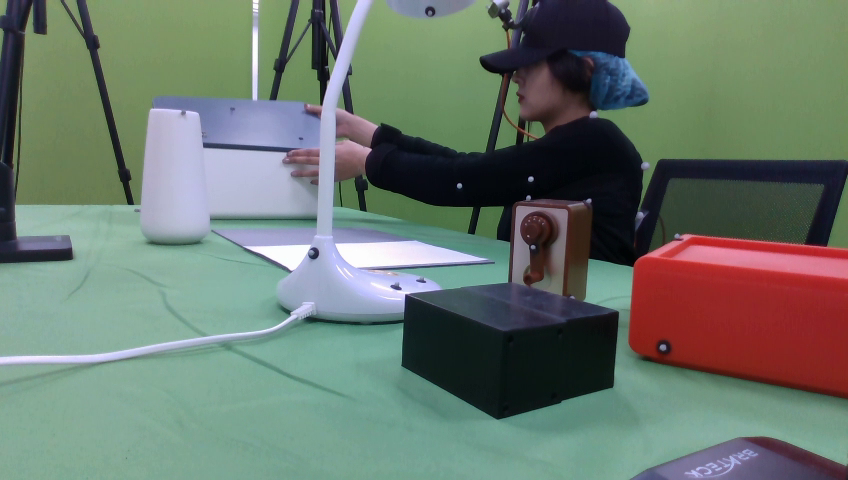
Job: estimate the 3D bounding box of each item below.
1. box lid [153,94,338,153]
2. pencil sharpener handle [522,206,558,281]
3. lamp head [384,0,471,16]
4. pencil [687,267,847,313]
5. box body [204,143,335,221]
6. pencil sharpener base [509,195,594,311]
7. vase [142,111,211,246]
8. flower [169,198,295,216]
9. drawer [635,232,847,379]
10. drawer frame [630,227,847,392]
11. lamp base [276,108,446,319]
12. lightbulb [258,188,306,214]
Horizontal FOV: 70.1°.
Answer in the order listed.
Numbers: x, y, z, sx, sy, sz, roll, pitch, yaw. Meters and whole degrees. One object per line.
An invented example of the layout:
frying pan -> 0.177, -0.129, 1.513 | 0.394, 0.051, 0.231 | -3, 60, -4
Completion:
box lid -> -0.397, -0.261, 1.359 | 0.373, 0.015, 0.262 | -3, 36, -28
pencil sharpener handle -> 0.102, 0.003, 0.555 | 0.036, 0.067, 0.031 | 0, 5, 31
lamp head -> -0.001, -0.301, 0.599 | 0.112, 0.112, 0.123 | 4, -30, 14
pencil -> 0.308, 0.044, 0.515 | 0.194, 0.012, 0.012 | 13, 5, -12
box body -> -0.410, -0.135, 1.386 | 0.366, 0.160, 0.253 | -2, 9, -29
pencil sharpener base -> 0.126, 0.011, 0.601 | 0.061, 0.107, 0.077 | 7, 9, 30
vase -> -0.378, -0.093, 0.920 | 0.098, 0.200, 0.098 | 2, 9, 0
flower -> -0.424, -0.067, 1.399 | 0.044, 0.038, 0.363 | -5, -3, 30
drawer -> 0.292, 0.045, 0.488 | 0.193, 0.073, 0.213 | 7, 9, 30
drawer frame -> 0.292, 0.043, 0.484 | 0.201, 0.082, 0.214 | 7, 9, 29
lamp base -> -0.061, -0.027, 0.556 | 0.160, 0.180, 0.180 | 4, 10, 20
lightbulb -> -0.325, -0.082, 1.382 | 0.108, 0.059, 0.059 | -15, 9, -6
